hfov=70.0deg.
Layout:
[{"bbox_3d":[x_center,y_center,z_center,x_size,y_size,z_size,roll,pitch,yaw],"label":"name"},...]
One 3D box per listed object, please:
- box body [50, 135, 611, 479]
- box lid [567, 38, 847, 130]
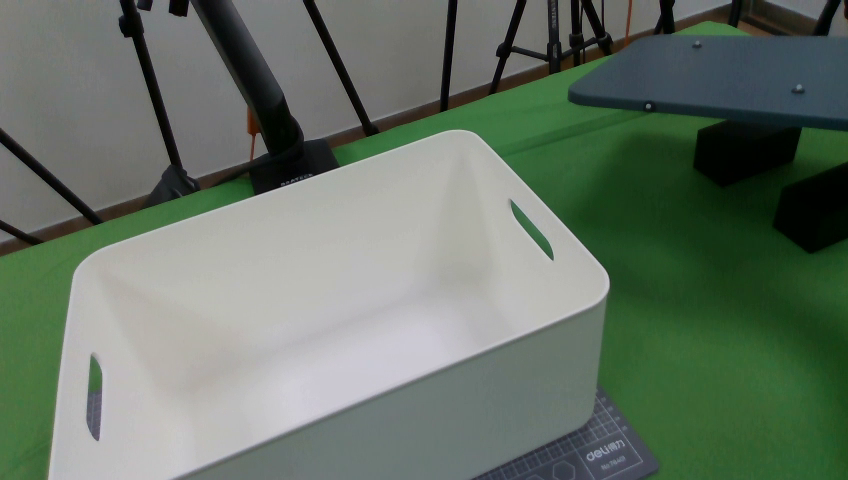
[{"bbox_3d":[-0.067,0.085,0.496,0.364,0.162,0.251,-20,40,-10],"label":"box body"},{"bbox_3d":[0.350,-0.159,0.584,0.369,0.015,0.263,13,35,33],"label":"box lid"}]
